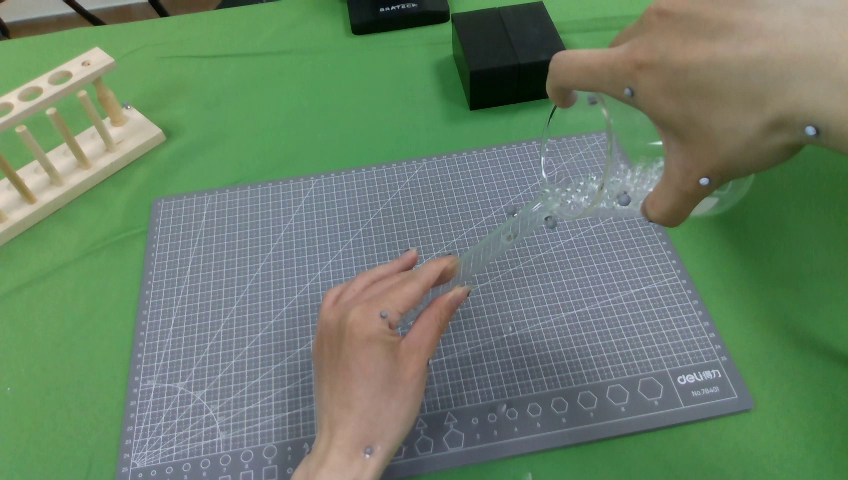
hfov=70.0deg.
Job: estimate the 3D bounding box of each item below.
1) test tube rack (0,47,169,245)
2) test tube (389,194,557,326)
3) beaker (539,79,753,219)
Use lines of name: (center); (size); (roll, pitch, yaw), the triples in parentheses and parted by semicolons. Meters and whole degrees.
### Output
test tube rack: (-0.373, -0.074, 0.561); (0.066, 0.086, 0.242); (36, 63, 26)
test tube: (0.027, 0.018, 0.404); (0.150, 0.017, 0.017); (-39, 45, 32)
beaker: (0.127, -0.046, 0.351); (0.101, 0.084, 0.073); (1, 51, -18)
